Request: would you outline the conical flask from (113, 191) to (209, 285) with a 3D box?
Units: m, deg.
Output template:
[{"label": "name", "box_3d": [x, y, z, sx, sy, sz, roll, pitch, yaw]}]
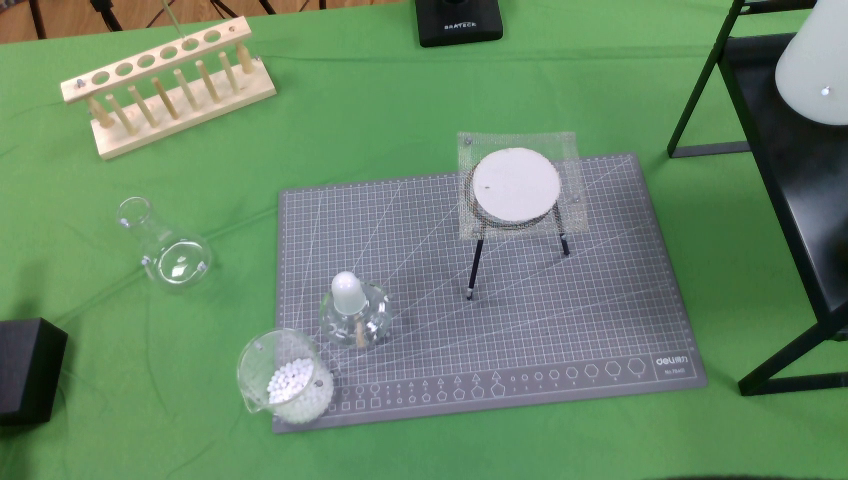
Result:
[{"label": "conical flask", "box_3d": [-0.294, -0.006, 0.669, 0.075, 0.123, 0.074, -1, 62, 3]}]

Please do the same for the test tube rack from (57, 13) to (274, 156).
[{"label": "test tube rack", "box_3d": [-0.332, -0.204, 0.795, 0.242, 0.086, 0.066, -24, 64, -9]}]

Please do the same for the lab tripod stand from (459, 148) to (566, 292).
[{"label": "lab tripod stand", "box_3d": [0.088, -0.025, 0.648, 0.148, 0.132, 0.147, -1, 61, 2]}]

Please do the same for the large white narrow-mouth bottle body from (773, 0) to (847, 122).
[{"label": "large white narrow-mouth bottle body", "box_3d": [0.370, -0.192, 0.485, 0.102, 0.196, 0.101, -1, 60, 3]}]

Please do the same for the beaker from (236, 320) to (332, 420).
[{"label": "beaker", "box_3d": [-0.134, 0.135, 0.596, 0.073, 0.101, 0.083, 22, 66, 15]}]

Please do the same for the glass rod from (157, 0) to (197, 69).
[{"label": "glass rod", "box_3d": [-0.314, -0.271, 0.754, 0.008, 0.202, 0.008, -5, 56, 7]}]

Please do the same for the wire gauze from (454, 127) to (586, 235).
[{"label": "wire gauze", "box_3d": [0.091, -0.062, 0.590, 0.121, 0.011, 0.124, -1, 63, 1]}]

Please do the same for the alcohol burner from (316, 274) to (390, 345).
[{"label": "alcohol burner", "box_3d": [-0.075, 0.064, 0.622, 0.078, 0.120, 0.077, -1, 61, 1]}]

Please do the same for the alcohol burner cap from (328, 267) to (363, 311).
[{"label": "alcohol burner cap", "box_3d": [-0.078, 0.045, 0.591, 0.034, 0.048, 0.033, 0, 55, 0]}]
